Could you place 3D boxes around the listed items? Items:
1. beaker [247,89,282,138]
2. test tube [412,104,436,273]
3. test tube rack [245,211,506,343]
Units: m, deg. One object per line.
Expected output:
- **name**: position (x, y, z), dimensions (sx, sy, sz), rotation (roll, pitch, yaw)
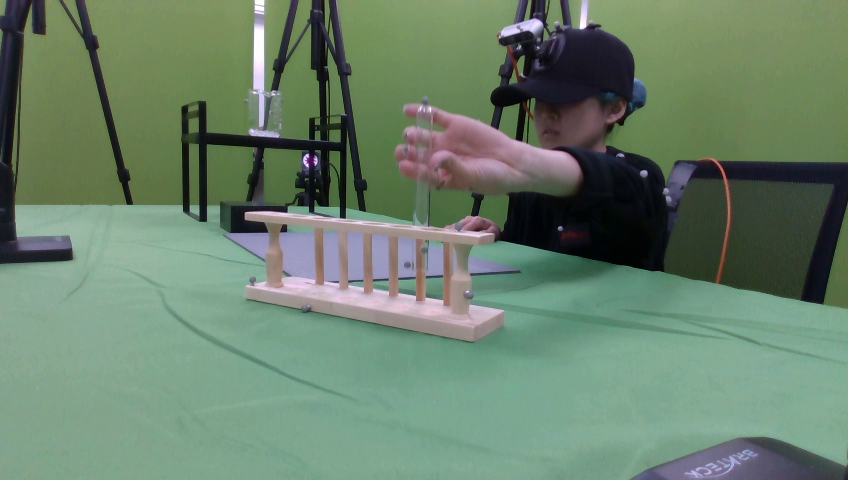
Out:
- **beaker**: position (-0.347, -0.274, 1.320), dimensions (0.074, 0.100, 0.083), rotation (-1, 9, -27)
- **test tube**: position (0.000, -0.045, 0.538), dimensions (0.017, 0.150, 0.017), rotation (2, 4, 0)
- **test tube rack**: position (-0.049, 0.024, 0.547), dimensions (0.241, 0.085, 0.067), rotation (6, 8, 28)
